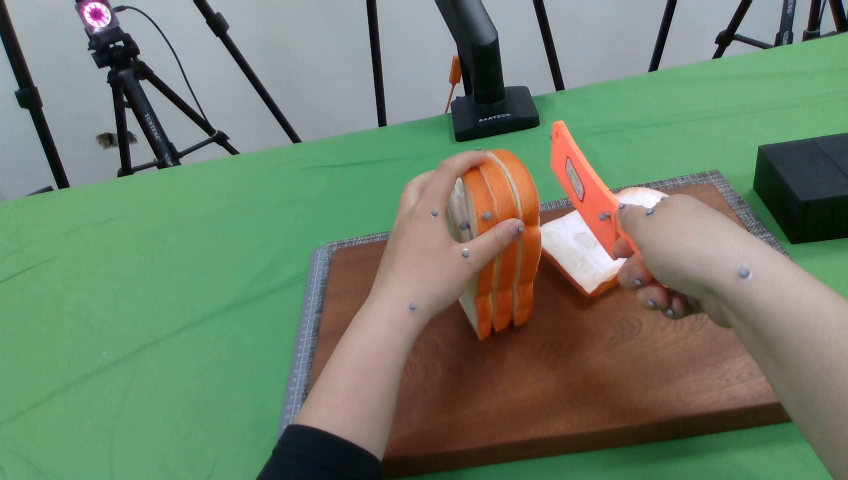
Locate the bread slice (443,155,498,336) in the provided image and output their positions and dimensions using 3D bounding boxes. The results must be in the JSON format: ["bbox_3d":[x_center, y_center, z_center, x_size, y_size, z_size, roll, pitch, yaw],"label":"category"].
[{"bbox_3d":[0.037,-0.004,0.516,0.018,0.135,0.106,-11,33,-11],"label":"bread slice"}]

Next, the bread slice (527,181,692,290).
[{"bbox_3d":[0.177,-0.010,0.559,0.131,0.019,0.103,-25,36,-7],"label":"bread slice"}]

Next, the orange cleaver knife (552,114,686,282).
[{"bbox_3d":[0.138,-0.026,0.464,0.012,0.078,0.209,-16,39,-2],"label":"orange cleaver knife"}]
